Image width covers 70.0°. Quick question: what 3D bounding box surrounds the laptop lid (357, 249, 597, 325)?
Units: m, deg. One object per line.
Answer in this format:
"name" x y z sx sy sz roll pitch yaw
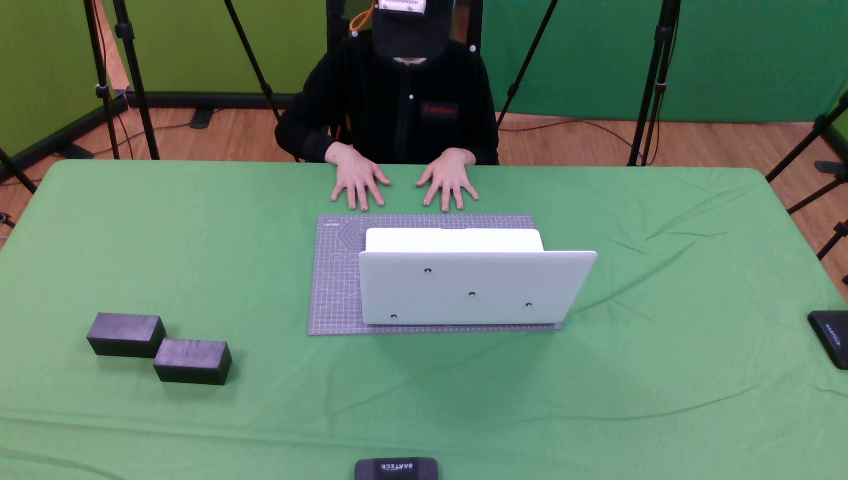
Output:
"laptop lid" 0.075 0.080 0.962 0.357 0.243 0.013 1 56 -5

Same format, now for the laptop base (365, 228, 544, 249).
"laptop base" 0.064 0.063 1.143 0.355 0.023 0.234 0 42 -4
